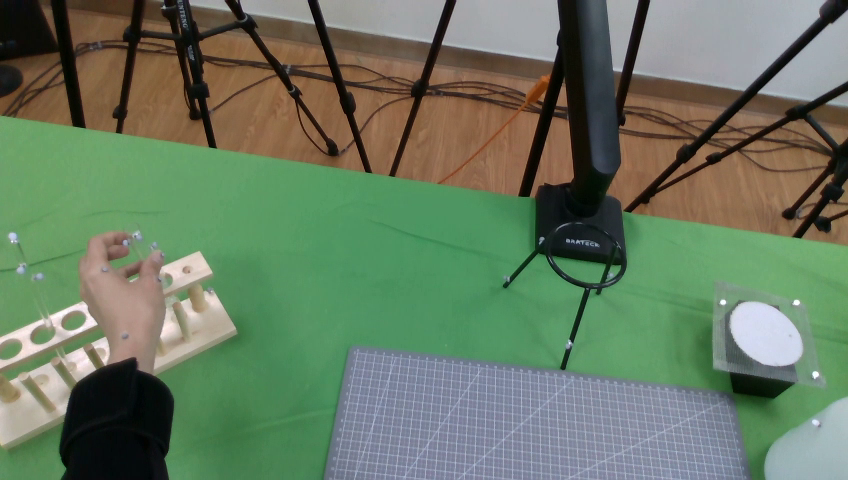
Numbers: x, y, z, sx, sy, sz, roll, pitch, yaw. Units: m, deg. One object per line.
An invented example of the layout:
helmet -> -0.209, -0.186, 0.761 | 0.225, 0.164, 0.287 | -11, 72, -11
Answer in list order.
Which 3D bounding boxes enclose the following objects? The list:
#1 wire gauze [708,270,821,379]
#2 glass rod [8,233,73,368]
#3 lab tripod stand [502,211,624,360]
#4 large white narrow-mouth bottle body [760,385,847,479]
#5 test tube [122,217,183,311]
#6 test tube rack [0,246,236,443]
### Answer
wire gauze -> 0.392, 0.097, 0.708 | 0.121, 0.011, 0.124 | 14, 53, 3
glass rod -> -0.357, 0.066, 0.569 | 0.008, 0.201, 0.008 | 7, 45, -6
lab tripod stand -> 0.168, 0.045, 0.702 | 0.148, 0.132, 0.147 | 4, 54, -6
large white narrow-mouth bottle body -> 0.418, 0.196, 0.582 | 0.102, 0.196, 0.101 | 3, 53, -4
test tube -> -0.277, 0.029, 0.626 | 0.017, 0.151, 0.017 | 1, 52, -1
test tube rack -> -0.328, 0.104, 0.627 | 0.242, 0.086, 0.066 | -27, 61, -24
